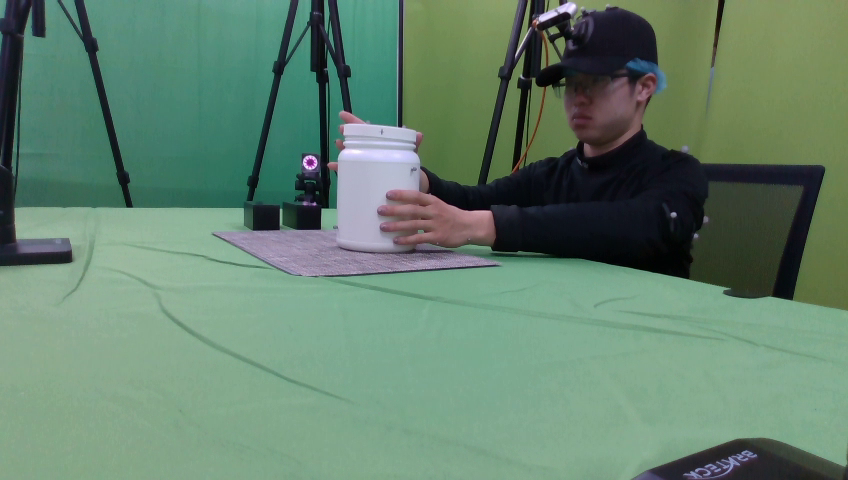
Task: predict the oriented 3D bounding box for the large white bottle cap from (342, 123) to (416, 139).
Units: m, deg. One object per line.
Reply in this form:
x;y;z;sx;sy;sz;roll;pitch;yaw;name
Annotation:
-0.069;-0.169;0.943;0.115;0.018;0.115;5;8;0;large white bottle cap

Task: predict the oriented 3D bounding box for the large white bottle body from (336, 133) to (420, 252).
-0.072;-0.081;0.954;0.131;0.184;0.130;2;9;0;large white bottle body
